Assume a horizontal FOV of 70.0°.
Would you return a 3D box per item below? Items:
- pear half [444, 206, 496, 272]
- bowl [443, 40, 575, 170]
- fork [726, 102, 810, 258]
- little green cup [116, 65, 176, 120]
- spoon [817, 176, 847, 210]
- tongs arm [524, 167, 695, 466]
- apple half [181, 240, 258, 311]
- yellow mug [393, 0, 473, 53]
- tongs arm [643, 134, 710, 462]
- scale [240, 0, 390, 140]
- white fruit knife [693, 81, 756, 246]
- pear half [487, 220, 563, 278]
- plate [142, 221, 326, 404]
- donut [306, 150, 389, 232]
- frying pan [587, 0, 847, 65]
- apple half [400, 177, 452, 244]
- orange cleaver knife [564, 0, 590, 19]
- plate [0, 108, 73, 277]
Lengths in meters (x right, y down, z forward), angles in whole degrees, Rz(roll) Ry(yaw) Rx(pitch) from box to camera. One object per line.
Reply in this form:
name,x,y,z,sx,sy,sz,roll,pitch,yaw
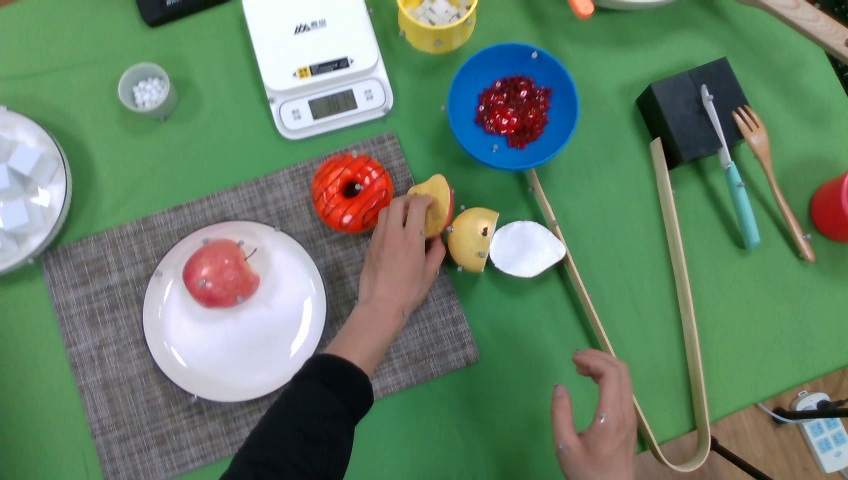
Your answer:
pear half,0.050,-0.006,0.684,0.056,0.110,0.076,11,77,2
bowl,0.095,-0.149,0.721,0.151,0.077,0.151,0,83,-1
fork,0.412,-0.069,0.720,0.028,0.018,0.208,-30,99,-7
little green cup,-0.336,-0.177,0.739,0.061,0.039,0.061,0,82,0
spoon,0.524,-0.018,0.674,0.041,0.022,0.191,-26,39,-5
tongs arm,0.214,0.084,0.711,0.051,0.026,0.383,-20,84,-9
apple half,-0.237,0.040,0.688,0.074,0.053,0.080,-27,86,-2
yellow mug,-0.002,-0.301,0.746,0.130,0.064,0.100,36,84,5
tongs arm,0.297,0.061,0.722,0.028,0.028,0.386,-5,82,-11
scale,-0.136,-0.235,0.753,0.149,0.031,0.200,-16,83,-2
white fruit knife,0.353,-0.088,0.714,0.016,0.027,0.208,-23,97,-4
pear half,0.120,0.013,0.721,0.088,0.031,0.070,4,79,14
plate,-0.214,0.082,0.700,0.209,0.038,0.208,0,82,-1
donut,-0.090,-0.058,0.718,0.099,0.048,0.099,0,83,2
frying pan,0.326,-0.355,0.739,0.485,0.103,0.306,41,85,13
apple half,0.010,-0.033,0.718,0.081,0.033,0.081,3,94,43
orange cleaver knife,0.149,-0.360,0.718,0.077,0.012,0.210,-30,84,-8
plate,-0.518,-0.053,0.719,0.208,0.039,0.207,0,82,-1
